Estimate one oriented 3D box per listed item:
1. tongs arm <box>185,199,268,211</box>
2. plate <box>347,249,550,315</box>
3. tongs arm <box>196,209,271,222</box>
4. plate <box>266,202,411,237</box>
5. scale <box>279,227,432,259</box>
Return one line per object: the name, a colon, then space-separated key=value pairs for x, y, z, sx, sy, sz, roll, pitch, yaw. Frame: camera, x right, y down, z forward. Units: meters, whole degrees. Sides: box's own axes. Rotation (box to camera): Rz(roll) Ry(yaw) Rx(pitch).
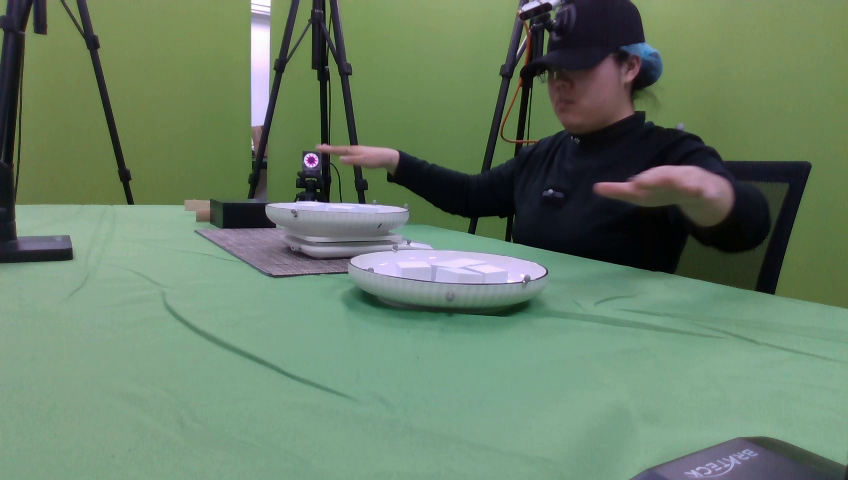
tongs arm: x=-0.343 y=-0.072 z=1.399 sx=0.387 sy=0.026 sz=0.050 roll=1 pitch=9 yaw=-25
plate: x=0.025 y=0.042 z=0.627 sx=0.209 sy=0.038 sz=0.209 roll=2 pitch=7 yaw=0
tongs arm: x=-0.304 y=-0.056 z=1.330 sx=0.390 sy=0.028 sz=0.028 roll=-3 pitch=7 yaw=-38
plate: x=-0.123 y=-0.030 z=0.879 sx=0.208 sy=0.039 sz=0.207 roll=2 pitch=6 yaw=0
scale: x=-0.100 y=0.001 z=0.899 sx=0.202 sy=0.031 sz=0.148 roll=-1 pitch=9 yaw=-31
